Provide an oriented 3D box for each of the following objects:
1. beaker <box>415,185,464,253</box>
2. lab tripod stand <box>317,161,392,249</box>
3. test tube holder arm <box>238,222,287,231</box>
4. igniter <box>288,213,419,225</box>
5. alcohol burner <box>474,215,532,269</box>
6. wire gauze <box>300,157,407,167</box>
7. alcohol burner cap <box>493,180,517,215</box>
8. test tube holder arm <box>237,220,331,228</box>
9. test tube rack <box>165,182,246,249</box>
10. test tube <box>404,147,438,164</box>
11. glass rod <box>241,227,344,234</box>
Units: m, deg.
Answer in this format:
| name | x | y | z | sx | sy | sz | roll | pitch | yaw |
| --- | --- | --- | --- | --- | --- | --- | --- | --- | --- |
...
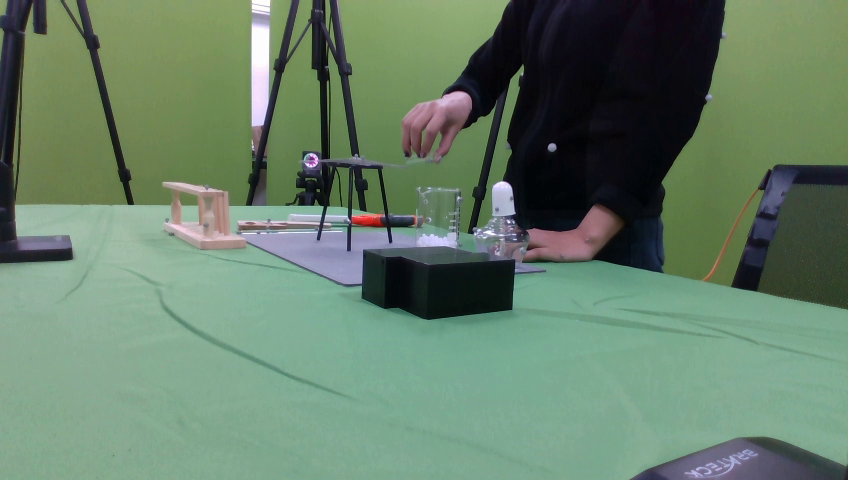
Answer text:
| name | x | y | z | sx | sy | sz | roll | pitch | yaw |
| --- | --- | --- | --- | --- | --- | --- | --- | --- | --- |
| beaker | 0.020 | -0.033 | 0.938 | 0.073 | 0.100 | 0.084 | 7 | 9 | 36 |
| lab tripod stand | -0.111 | -0.059 | 0.963 | 0.148 | 0.131 | 0.148 | 4 | 8 | 0 |
| test tube holder arm | -0.297 | -0.024 | 1.113 | 0.088 | 0.015 | 0.010 | -2 | 42 | -33 |
| igniter | -0.145 | -0.044 | 1.278 | 0.278 | 0.025 | 0.057 | -1 | -2 | -21 |
| alcohol burner | 0.107 | -0.022 | 0.819 | 0.078 | 0.119 | 0.078 | 1 | 9 | 0 |
| wire gauze | -0.112 | -0.125 | 0.957 | 0.121 | 0.011 | 0.126 | 11 | 11 | 42 |
| alcohol burner cap | 0.107 | -0.057 | 0.813 | 0.034 | 0.048 | 0.034 | -6 | 11 | 2 |
| test tube holder arm | -0.261 | -0.029 | 1.141 | 0.179 | 0.015 | 0.013 | -2 | 42 | -33 |
| test tube rack | -0.360 | -0.044 | 0.982 | 0.067 | 0.085 | 0.241 | -3 | 9 | -34 |
| test tube | -0.007 | -0.141 | 1.019 | 0.017 | 0.017 | 0.149 | 0 | 2 | -18 |
| glass rod | -0.239 | -0.019 | 1.119 | 0.201 | 0.008 | 0.008 | -3 | 9 | -34 |
